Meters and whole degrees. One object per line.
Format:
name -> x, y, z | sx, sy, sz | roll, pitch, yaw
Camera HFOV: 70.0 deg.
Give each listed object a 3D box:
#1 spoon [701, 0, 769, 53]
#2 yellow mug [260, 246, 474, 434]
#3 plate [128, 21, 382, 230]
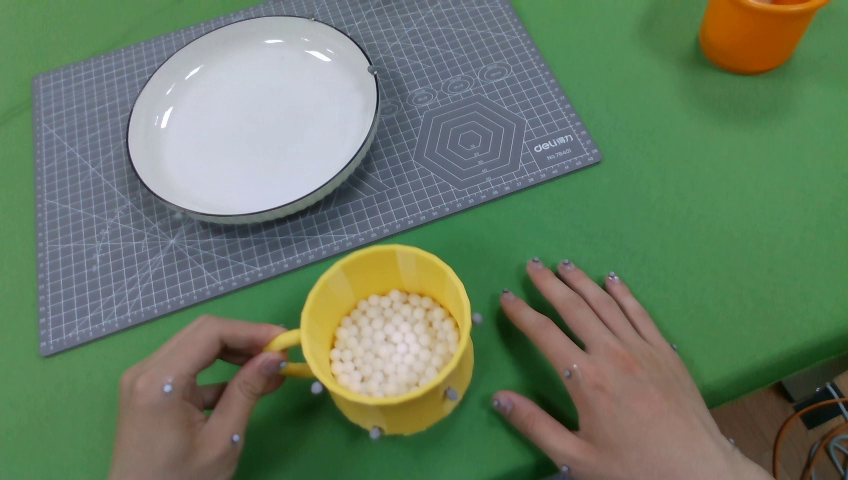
spoon -> 0.289, -0.224, 0.456 | 0.194, 0.022, 0.041 | -47, 56, 27
yellow mug -> -0.035, 0.065, 0.373 | 0.131, 0.064, 0.099 | -10, 58, 0
plate -> -0.135, -0.095, 0.503 | 0.207, 0.039, 0.206 | -3, 61, 5
